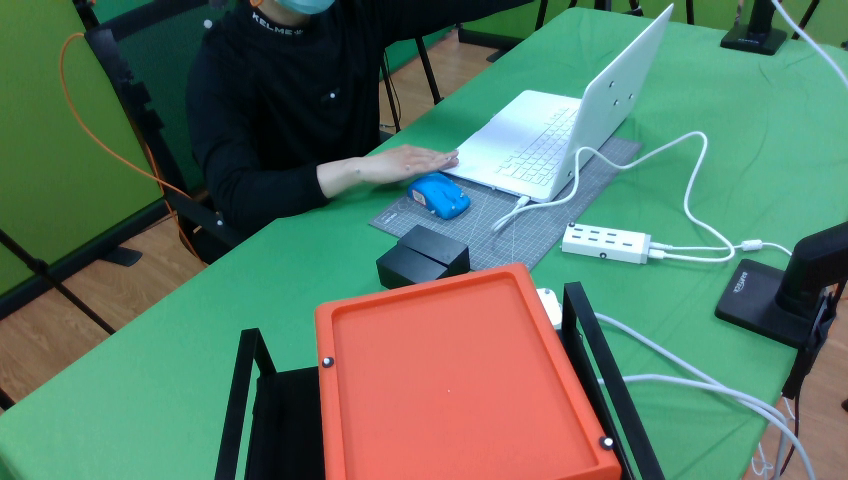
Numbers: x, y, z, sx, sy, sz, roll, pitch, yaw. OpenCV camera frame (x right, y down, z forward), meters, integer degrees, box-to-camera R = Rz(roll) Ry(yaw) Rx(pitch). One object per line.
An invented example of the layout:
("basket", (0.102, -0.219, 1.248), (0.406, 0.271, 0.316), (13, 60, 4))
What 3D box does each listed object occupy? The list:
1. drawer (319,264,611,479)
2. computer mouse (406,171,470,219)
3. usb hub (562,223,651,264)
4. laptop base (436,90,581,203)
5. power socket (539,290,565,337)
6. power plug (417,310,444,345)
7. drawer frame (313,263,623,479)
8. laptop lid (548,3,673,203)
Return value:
("drawer", (0.020, 0.129, 0.497), (0.195, 0.073, 0.210), (-11, 41, -5))
("computer mouse", (0.024, -0.082, 1.050), (0.063, 0.041, 0.116), (-30, 50, -27))
("usb hub", (0.279, 0.005, 0.926), (0.124, 0.025, 0.049), (10, 43, 19))
("laptop base", (0.214, -0.192, 1.172), (0.233, 0.023, 0.355), (19, 46, 32))
("power socket", (0.081, 0.112, 0.822), (0.227, 0.033, 0.072), (-6, 41, 0))
("power plug", (0.007, 0.122, 0.785), (0.035, 0.053, 0.072), (0, 39, 8))
("drawer frame", (0.021, 0.130, 0.493), (0.202, 0.083, 0.212), (-11, 41, -6))
("laptop lid", (0.320, -0.235, 1.026), (0.013, 0.242, 0.357), (31, 50, 20))
